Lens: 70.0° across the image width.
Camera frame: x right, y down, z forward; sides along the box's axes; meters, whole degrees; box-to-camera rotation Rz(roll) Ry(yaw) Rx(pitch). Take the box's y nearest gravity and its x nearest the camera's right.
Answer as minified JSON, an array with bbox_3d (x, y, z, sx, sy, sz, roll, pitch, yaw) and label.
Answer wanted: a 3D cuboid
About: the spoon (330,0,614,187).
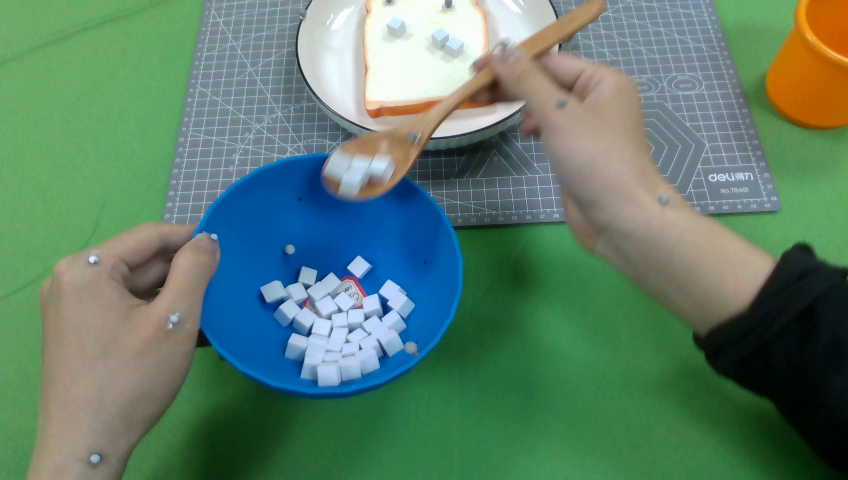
[{"bbox_3d":[0.030,-0.090,0.350,0.194,0.022,0.041,-34,66,4],"label":"spoon"}]

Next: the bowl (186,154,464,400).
[{"bbox_3d":[-0.057,0.031,0.366,0.152,0.077,0.150,5,59,-7],"label":"bowl"}]

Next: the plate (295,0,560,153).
[{"bbox_3d":[0.002,-0.153,0.491,0.209,0.038,0.207,-1,63,3],"label":"plate"}]

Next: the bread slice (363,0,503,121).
[{"bbox_3d":[-0.001,-0.156,0.496,0.107,0.018,0.133,-9,65,-1],"label":"bread slice"}]
